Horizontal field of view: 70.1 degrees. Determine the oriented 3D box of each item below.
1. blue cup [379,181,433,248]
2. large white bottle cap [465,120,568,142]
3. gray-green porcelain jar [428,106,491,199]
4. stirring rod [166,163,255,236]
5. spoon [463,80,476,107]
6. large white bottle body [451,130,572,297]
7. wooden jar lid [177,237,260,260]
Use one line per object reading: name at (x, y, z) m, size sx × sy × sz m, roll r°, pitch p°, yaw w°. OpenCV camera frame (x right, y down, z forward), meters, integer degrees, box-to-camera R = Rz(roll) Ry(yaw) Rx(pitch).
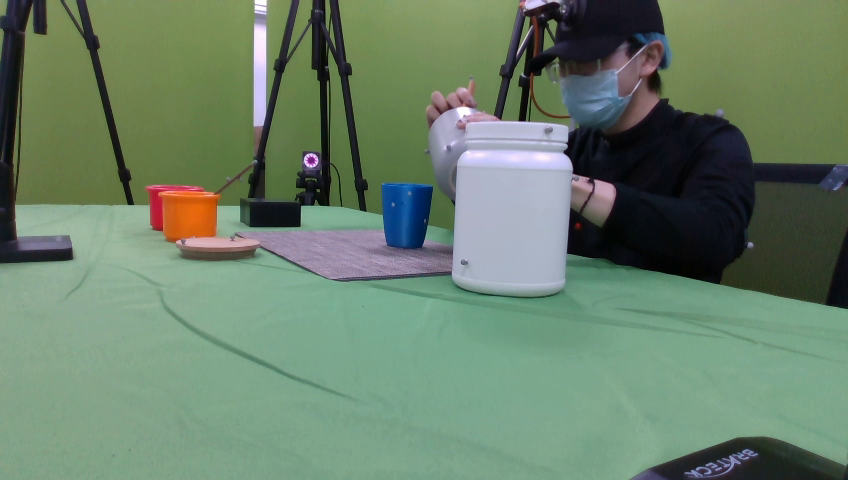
blue cup at (-0.030, -0.042, 0.979) m, size 0.093 × 0.100 × 0.092 m, roll 2°, pitch 9°, yaw 0°
large white bottle cap at (0.103, -0.121, 0.677) m, size 0.115 × 0.018 × 0.115 m, roll 3°, pitch 7°, yaw 0°
gray-green porcelain jar at (0.063, -0.122, 0.875) m, size 0.106 × 0.106 × 0.126 m, roll 2°, pitch 33°, yaw -7°
stirring rod at (-0.341, -0.066, 0.967) m, size 0.176 × 0.006 × 0.014 m, roll -42°, pitch 23°, yaw -9°
spoon at (0.058, -0.199, 0.983) m, size 0.021 × 0.194 × 0.042 m, roll -10°, pitch -47°, yaw 41°
large white bottle body at (0.099, -0.037, 0.688) m, size 0.131 × 0.184 × 0.130 m, roll 2°, pitch 7°, yaw 0°
wooden jar lid at (-0.283, 0.012, 0.834) m, size 0.108 × 0.020 × 0.108 m, roll 2°, pitch 8°, yaw 0°
